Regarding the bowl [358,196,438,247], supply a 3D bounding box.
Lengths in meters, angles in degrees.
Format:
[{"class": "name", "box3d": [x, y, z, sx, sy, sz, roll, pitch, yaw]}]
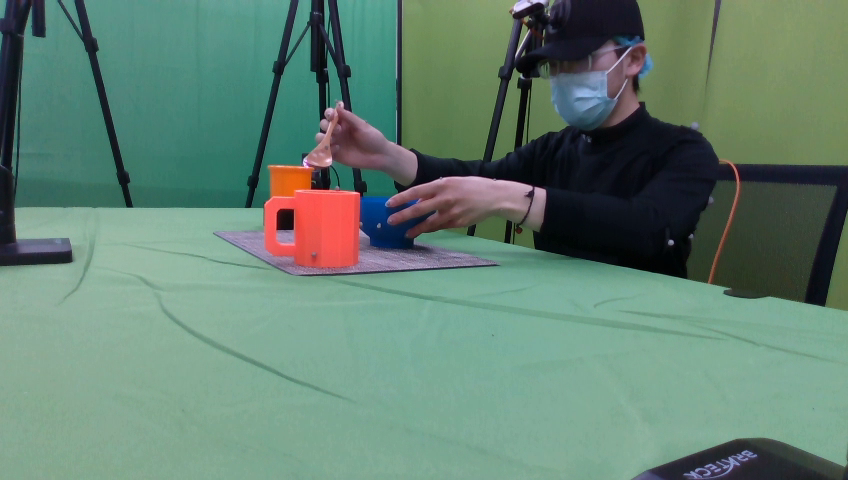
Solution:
[{"class": "bowl", "box3d": [-0.054, -0.031, 1.006, 0.151, 0.077, 0.151, 2, 7, 0]}]

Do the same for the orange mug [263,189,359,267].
[{"class": "orange mug", "box3d": [-0.147, -0.019, 0.795, 0.127, 0.100, 0.083, 4, 6, -19]}]

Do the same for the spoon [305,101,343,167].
[{"class": "spoon", "box3d": [-0.159, -0.181, 1.014, 0.042, 0.021, 0.193, 16, 48, -5]}]
